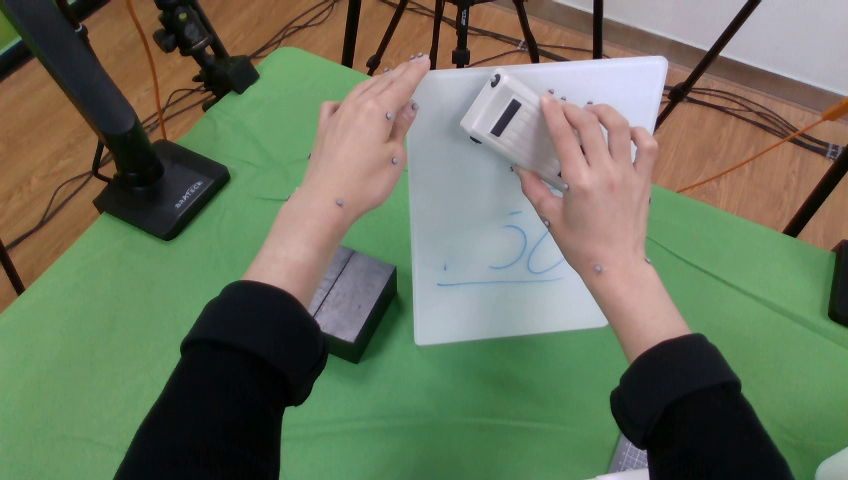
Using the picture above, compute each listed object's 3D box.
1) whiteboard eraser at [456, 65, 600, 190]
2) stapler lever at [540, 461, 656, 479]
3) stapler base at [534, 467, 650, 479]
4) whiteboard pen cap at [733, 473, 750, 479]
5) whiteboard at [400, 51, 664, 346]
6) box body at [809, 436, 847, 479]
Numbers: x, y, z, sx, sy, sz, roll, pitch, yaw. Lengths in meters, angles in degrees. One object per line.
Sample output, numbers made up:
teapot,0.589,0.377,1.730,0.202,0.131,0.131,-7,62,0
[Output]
whiteboard eraser,0.084,-0.089,0.490,0.113,0.056,0.041,26,25,-27
stapler lever,0.148,0.220,0.538,0.118,0.040,0.026,-6,52,-3
stapler base,0.150,0.234,0.558,0.131,0.024,0.041,-6,53,-3
whiteboard pen cap,0.304,0.236,0.566,0.018,0.018,0.033,-27,60,-19
whiteboard,0.083,-0.059,0.620,0.217,0.308,0.142,-5,37,-5
box body,0.530,0.279,0.463,0.254,0.161,0.360,-16,58,-13
